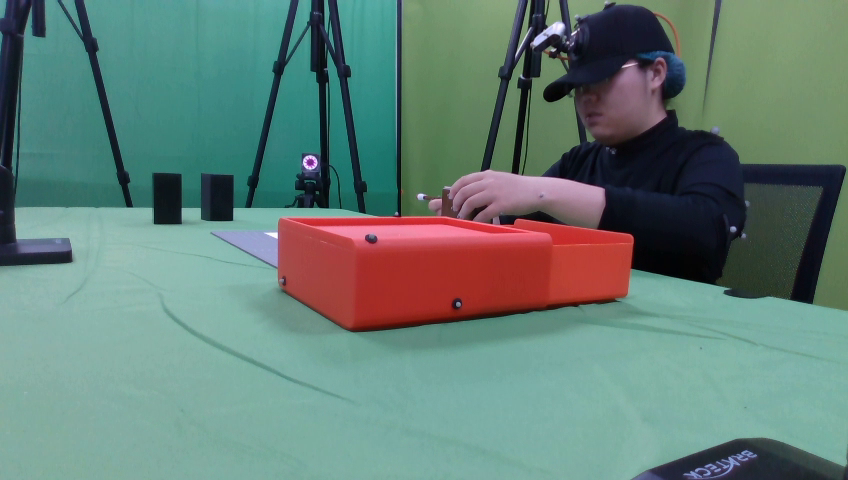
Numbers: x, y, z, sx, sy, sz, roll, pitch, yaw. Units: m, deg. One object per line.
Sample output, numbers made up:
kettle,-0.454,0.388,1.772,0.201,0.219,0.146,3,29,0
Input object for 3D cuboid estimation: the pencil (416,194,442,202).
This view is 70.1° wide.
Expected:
pencil,0.032,-0.070,1.062,0.012,0.012,0.193,-1,8,-28

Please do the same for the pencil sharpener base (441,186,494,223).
pencil sharpener base,0.070,-0.032,0.991,0.061,0.107,0.076,-1,8,-30

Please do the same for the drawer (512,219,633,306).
drawer,0.085,0.021,0.674,0.213,0.073,0.193,-2,9,-32

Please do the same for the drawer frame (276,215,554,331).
drawer frame,-0.015,0.022,0.610,0.215,0.082,0.200,-2,9,-32

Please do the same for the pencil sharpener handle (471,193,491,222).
pencil sharpener handle,0.095,-0.038,0.945,0.036,0.067,0.030,6,5,-30
